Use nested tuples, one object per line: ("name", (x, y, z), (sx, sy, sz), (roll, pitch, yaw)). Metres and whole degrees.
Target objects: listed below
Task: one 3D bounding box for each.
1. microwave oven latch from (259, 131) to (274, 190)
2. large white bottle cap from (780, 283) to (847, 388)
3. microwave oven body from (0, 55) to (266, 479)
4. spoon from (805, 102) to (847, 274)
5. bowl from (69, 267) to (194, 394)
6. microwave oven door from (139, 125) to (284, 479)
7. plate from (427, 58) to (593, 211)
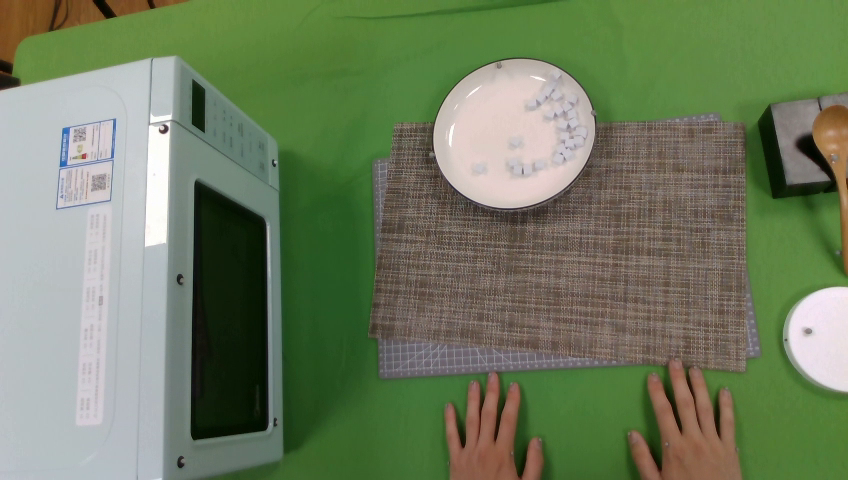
("microwave oven latch", (-0.225, -0.109, 0.838), (0.030, 0.030, 0.078), (-7, 77, 11))
("large white bottle cap", (0.455, 0.104, 0.664), (0.114, 0.018, 0.114), (-3, 77, 11))
("microwave oven body", (-0.377, 0.059, 0.733), (0.325, 0.262, 0.439), (-8, 76, 11))
("spoon", (0.451, -0.054, 0.663), (0.041, 0.021, 0.194), (-12, 97, 8))
("bowl", (-0.342, 0.113, 0.745), (0.151, 0.077, 0.150), (-3, 76, 11))
("microwave oven door", (-0.233, 0.079, 0.690), (0.039, 0.245, 0.354), (-8, 76, 11))
("plate", (0.110, -0.134, 0.782), (0.209, 0.038, 0.208), (-3, 75, 12))
